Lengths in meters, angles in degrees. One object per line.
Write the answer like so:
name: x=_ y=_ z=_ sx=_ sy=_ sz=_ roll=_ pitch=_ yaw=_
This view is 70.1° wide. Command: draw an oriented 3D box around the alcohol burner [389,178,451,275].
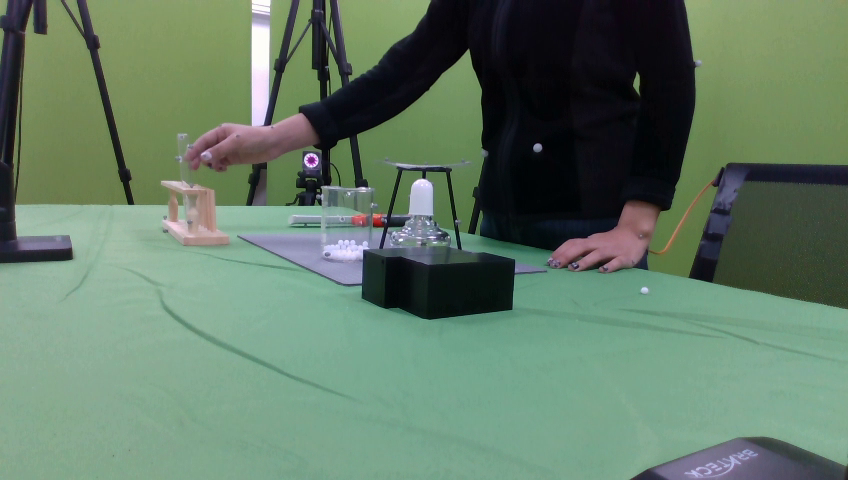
alcohol burner: x=-0.005 y=-0.017 z=0.748 sx=0.078 sy=0.119 sz=0.078 roll=1 pitch=9 yaw=0

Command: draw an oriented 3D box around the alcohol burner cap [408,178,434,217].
alcohol burner cap: x=-0.003 y=-0.053 z=0.745 sx=0.034 sy=0.048 sz=0.034 roll=2 pitch=2 yaw=0

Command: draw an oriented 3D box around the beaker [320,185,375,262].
beaker: x=-0.106 y=-0.024 z=0.826 sx=0.074 sy=0.100 sz=0.084 roll=2 pitch=7 yaw=-7

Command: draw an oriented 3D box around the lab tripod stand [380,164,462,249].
lab tripod stand: x=-0.004 y=-0.055 z=0.966 sx=0.148 sy=0.131 sz=0.148 roll=2 pitch=9 yaw=0

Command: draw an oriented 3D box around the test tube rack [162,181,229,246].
test tube rack: x=-0.388 y=-0.050 z=1.015 sx=0.067 sy=0.085 sz=0.241 roll=-2 pitch=9 yaw=-30

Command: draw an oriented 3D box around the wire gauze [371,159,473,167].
wire gauze: x=-0.005 y=-0.122 z=0.958 sx=0.122 sy=0.011 sz=0.124 roll=-4 pitch=9 yaw=-33

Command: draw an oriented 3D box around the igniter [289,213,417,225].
igniter: x=-0.144 y=-0.044 z=1.275 sx=0.278 sy=0.025 sz=0.057 roll=-1 pitch=-2 yaw=-27

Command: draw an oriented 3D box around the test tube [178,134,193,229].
test tube: x=-0.368 y=-0.089 z=0.939 sx=0.017 sy=0.150 sz=0.017 roll=-2 pitch=7 yaw=1
